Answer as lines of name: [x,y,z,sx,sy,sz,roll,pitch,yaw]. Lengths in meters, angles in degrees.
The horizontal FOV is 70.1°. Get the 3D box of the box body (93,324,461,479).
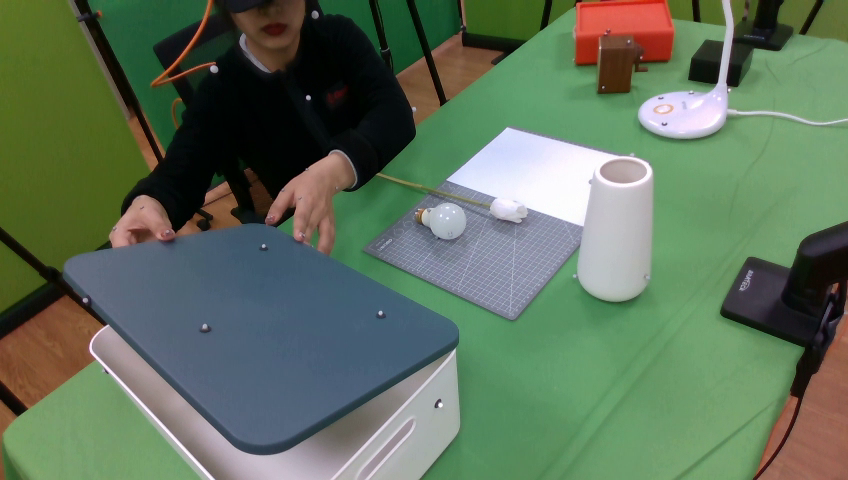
box body: [-0.162,0.170,0.708,0.361,0.161,0.255,25,50,34]

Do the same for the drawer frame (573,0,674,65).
drawer frame: [0.464,-0.492,1.434,0.213,0.083,0.201,1,40,12]

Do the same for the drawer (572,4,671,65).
drawer: [0.461,-0.490,1.435,0.211,0.073,0.194,2,41,12]

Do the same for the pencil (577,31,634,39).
pencil: [0.431,-0.488,1.443,0.012,0.012,0.192,-25,30,-18]

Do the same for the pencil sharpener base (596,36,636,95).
pencil sharpener base: [0.406,-0.369,1.280,0.076,0.107,0.061,1,41,13]

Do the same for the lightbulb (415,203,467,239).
lightbulb: [0.024,-0.034,0.998,0.060,0.060,0.107,-38,32,-30]

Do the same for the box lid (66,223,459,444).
box lid: [-0.173,0.066,0.642,0.368,0.015,0.265,25,27,34]

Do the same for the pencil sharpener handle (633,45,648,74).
pencil sharpener handle: [0.454,-0.378,1.262,0.030,0.068,0.036,1,47,13]

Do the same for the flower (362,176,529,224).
flower: [0.024,-0.083,1.087,0.359,0.038,0.044,16,16,33]

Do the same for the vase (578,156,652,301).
vase: [0.261,-0.011,0.812,0.098,0.201,0.097,-4,40,4]

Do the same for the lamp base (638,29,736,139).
lamp base: [0.501,-0.302,1.125,0.179,0.181,0.160,-4,40,3]
